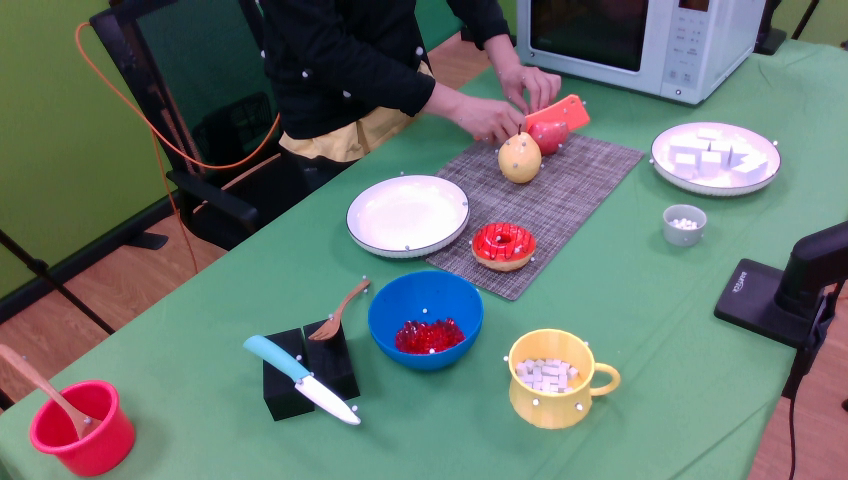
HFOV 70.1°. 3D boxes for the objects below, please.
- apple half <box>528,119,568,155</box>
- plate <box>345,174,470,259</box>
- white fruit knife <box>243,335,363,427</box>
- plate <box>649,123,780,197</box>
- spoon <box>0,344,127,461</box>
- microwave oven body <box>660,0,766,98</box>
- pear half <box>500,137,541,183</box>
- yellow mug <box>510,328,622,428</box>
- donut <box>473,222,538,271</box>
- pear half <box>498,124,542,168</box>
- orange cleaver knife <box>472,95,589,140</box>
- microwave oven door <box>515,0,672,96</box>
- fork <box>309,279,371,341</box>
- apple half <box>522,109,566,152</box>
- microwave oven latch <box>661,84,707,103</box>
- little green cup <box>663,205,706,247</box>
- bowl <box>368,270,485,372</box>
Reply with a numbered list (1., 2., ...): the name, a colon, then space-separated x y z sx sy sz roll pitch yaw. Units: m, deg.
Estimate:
1. apple half: 0.230 -0.183 1.112 0.081 0.081 0.032 -8 47 0
2. plate: -0.026 -0.037 1.004 0.209 0.038 0.208 -4 40 4
3. white fruit knife: -0.148 0.167 0.729 0.206 0.016 0.027 27 80 31
4. plate: 0.497 -0.135 1.046 0.207 0.039 0.206 -4 40 4
5. spoon: -0.433 0.191 0.721 0.194 0.021 0.042 47 53 -6
6. microwave oven body: 0.472 -0.513 1.317 0.438 0.261 0.327 26 51 34
7. pear half: 0.169 -0.133 1.048 0.070 0.088 0.031 -3 40 -2
8. yellow mug: 0.169 0.164 0.722 0.130 0.064 0.099 0 40 8
9. donut: 0.123 0.009 0.923 0.099 0.048 0.098 -3 38 3
10. pear half: 0.169 -0.163 1.068 0.076 0.110 0.055 -3 41 0
11. orange cleaver knife: 0.196 -0.207 1.110 0.211 0.077 0.012 -16 39 9
12. microwave oven door: 0.344 -0.455 1.259 0.353 0.245 0.039 26 51 33
13. fork: -0.109 0.092 0.832 0.028 0.018 0.207 -6 19 15
14. apple half: 0.225 -0.212 1.145 0.081 0.075 0.053 -10 36 5
15. microwave oven latch: 0.517 -0.296 1.204 0.078 0.029 0.030 27 52 35
16. little green cup: 0.396 -0.020 0.927 0.061 0.039 0.061 -4 40 4
17. bowl: 0.007 0.118 0.791 0.151 0.077 0.150 -5 40 4
